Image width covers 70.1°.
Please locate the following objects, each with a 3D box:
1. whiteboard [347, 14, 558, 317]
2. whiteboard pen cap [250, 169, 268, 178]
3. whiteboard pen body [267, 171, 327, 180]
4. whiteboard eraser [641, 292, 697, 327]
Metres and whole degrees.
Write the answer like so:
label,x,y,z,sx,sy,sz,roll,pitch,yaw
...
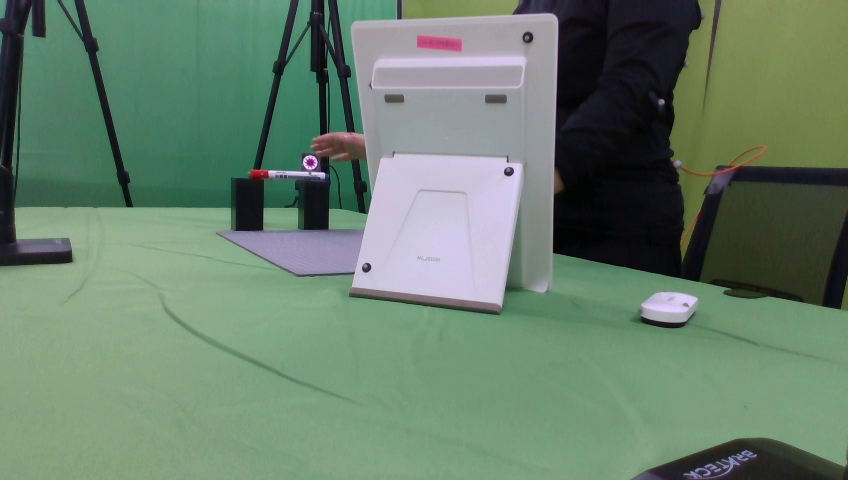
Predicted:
label,x,y,z,sx,sy,sz,roll,pitch,yaw
whiteboard,0.012,-0.056,0.609,0.216,0.305,0.144,5,27,20
whiteboard pen cap,-0.315,-0.127,1.155,0.032,0.017,0.017,1,7,-24
whiteboard pen body,-0.259,-0.126,1.181,0.141,0.017,0.017,-2,8,-26
whiteboard eraser,0.240,0.066,0.590,0.041,0.019,0.102,6,7,31
